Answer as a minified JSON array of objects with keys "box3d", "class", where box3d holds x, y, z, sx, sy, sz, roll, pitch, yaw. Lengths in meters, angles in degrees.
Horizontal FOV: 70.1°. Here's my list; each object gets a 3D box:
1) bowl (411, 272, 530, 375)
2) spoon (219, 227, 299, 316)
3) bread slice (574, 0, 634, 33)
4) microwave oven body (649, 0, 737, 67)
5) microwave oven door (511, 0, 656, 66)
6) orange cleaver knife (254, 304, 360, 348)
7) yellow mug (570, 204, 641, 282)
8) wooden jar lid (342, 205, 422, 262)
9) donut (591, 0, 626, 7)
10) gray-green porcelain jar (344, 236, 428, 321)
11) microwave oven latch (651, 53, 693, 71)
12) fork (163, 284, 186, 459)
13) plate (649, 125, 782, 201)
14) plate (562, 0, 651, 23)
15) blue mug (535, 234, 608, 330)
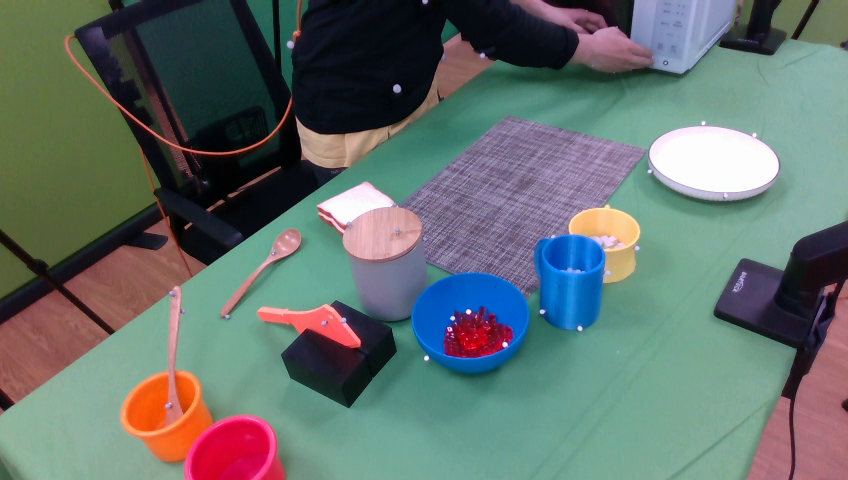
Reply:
[{"box3d":[0.061,0.120,0.780,0.151,0.077,0.150,-4,40,4],"class":"bowl"},{"box3d":[-0.261,0.046,0.954,0.041,0.021,0.194,27,48,10],"class":"spoon"},{"box3d":[0.432,-0.564,1.475,0.105,0.019,0.130,-31,67,-21],"class":"bread slice"},{"box3d":[0.475,-0.602,1.411,0.438,0.261,0.327,23,50,32],"class":"microwave oven body"},{"box3d":[0.351,-0.539,1.349,0.353,0.245,0.039,24,50,31],"class":"microwave oven door"},{"box3d":[-0.161,0.115,0.813,0.210,0.077,0.012,-4,33,46],"class":"orange cleaver knife"},{"box3d":[0.268,-0.005,0.904,0.099,0.064,0.130,7,41,15],"class":"yellow mug"},{"box3d":[-0.055,-0.005,0.808,0.108,0.021,0.108,-6,41,6],"class":"wooden jar lid"},{"box3d":[0.437,-0.589,1.432,0.099,0.048,0.098,-3,53,4],"class":"donut"},{"box3d":[-0.049,0.042,0.849,0.106,0.127,0.105,-4,41,4],"class":"gray-green porcelain jar"},{"box3d":[0.532,-0.386,1.301,0.078,0.029,0.030,27,52,34],"class":"microwave oven latch"},{"box3d":[-0.303,0.157,0.733,0.028,0.019,0.207,-3,84,12],"class":"fork"},{"box3d":[0.493,-0.128,1.036,0.207,0.039,0.206,-4,41,4],"class":"plate"},{"box3d":[0.439,-0.573,1.456,0.209,0.038,0.208,-6,44,6],"class":"plate"},{"box3d":[0.191,0.048,0.824,0.082,0.106,0.115,-26,44,-20],"class":"blue mug"}]
